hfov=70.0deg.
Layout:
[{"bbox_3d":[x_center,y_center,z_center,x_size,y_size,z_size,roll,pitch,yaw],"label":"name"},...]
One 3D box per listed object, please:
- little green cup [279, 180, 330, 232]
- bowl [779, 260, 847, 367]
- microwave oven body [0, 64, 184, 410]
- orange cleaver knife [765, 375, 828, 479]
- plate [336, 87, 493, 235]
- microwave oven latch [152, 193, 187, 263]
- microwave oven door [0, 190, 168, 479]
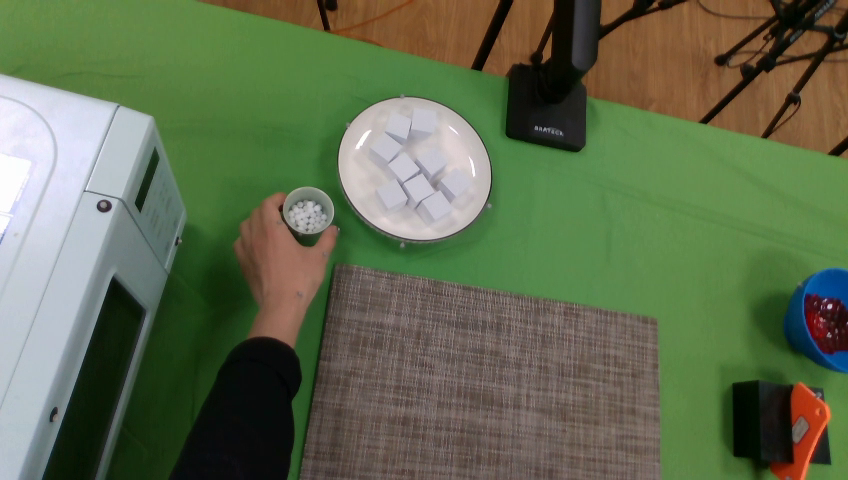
[{"bbox_3d":[-0.147,-0.039,0.745,0.062,0.038,0.061,3,76,-12],"label":"little green cup"},{"bbox_3d":[0.571,0.110,0.868,0.152,0.077,0.150,4,73,-13],"label":"bowl"},{"bbox_3d":[-0.440,0.086,0.508,0.327,0.260,0.439,14,71,-11],"label":"microwave oven body"},{"bbox_3d":[0.473,0.283,0.788,0.012,0.077,0.211,11,95,-7],"label":"orange cleaver knife"},{"bbox_3d":[-0.013,-0.101,0.800,0.208,0.039,0.206,4,73,-13],"label":"plate"},{"bbox_3d":[-0.291,-0.016,0.681,0.030,0.029,0.078,14,71,-10],"label":"microwave oven latch"},{"bbox_3d":[-0.305,0.158,0.517,0.039,0.244,0.353,13,71,-10],"label":"microwave oven door"}]
